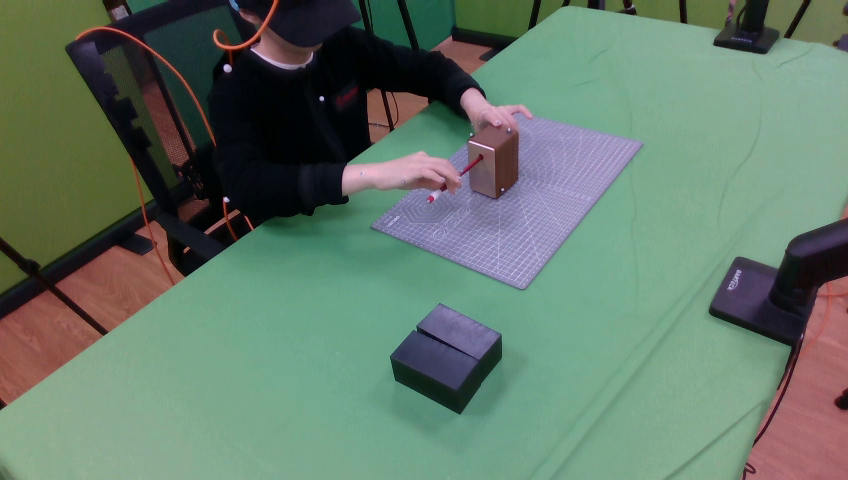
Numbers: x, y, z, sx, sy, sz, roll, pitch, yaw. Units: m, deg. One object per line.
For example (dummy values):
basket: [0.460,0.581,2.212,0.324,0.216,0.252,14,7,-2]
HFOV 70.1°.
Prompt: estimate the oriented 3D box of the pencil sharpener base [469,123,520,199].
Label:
pencil sharpener base: [0.125,-0.138,1.050,0.061,0.107,0.077,24,50,33]

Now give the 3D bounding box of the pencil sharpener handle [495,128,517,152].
pencil sharpener handle: [0.149,-0.181,1.073,0.036,0.067,0.031,47,57,3]

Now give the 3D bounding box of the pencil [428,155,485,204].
pencil: [0.070,-0.113,0.989,0.012,0.012,0.194,26,51,33]
